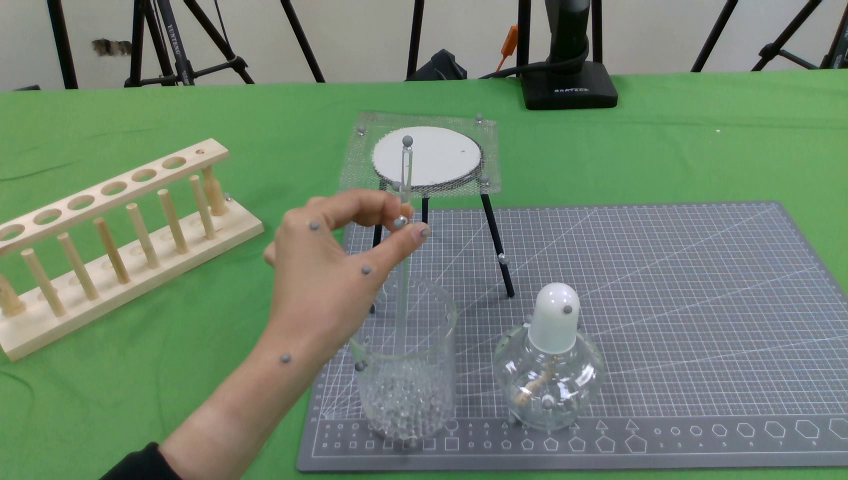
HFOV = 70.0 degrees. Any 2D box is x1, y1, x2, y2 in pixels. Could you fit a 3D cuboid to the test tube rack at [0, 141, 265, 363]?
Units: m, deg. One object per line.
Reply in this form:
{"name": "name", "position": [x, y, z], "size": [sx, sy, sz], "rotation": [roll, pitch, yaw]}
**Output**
{"name": "test tube rack", "position": [-0.276, 0.001, 0.557], "size": [0.242, 0.086, 0.066], "rotation": [-32, 47, -30]}

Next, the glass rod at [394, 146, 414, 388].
{"name": "glass rod", "position": [-0.015, 0.029, 0.407], "size": [0.008, 0.201, 0.008], "rotation": [3, 34, -2]}

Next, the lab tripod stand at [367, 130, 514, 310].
{"name": "lab tripod stand", "position": [0.010, -0.016, 0.518], "size": [0.148, 0.132, 0.147], "rotation": [0, 39, 1]}

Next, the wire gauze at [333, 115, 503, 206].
{"name": "wire gauze", "position": [-0.001, -0.066, 0.474], "size": [0.121, 0.011, 0.124], "rotation": [1, 41, 3]}

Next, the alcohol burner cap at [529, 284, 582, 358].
{"name": "alcohol burner cap", "position": [0.087, 0.050, 0.393], "size": [0.034, 0.048, 0.033], "rotation": [1, 41, -1]}

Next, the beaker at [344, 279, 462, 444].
{"name": "beaker", "position": [-0.014, 0.086, 0.424], "size": [0.074, 0.101, 0.083], "rotation": [-33, 48, -31]}

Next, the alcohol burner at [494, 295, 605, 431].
{"name": "alcohol burner", "position": [0.088, 0.077, 0.416], "size": [0.078, 0.120, 0.077], "rotation": [-1, 42, 2]}
